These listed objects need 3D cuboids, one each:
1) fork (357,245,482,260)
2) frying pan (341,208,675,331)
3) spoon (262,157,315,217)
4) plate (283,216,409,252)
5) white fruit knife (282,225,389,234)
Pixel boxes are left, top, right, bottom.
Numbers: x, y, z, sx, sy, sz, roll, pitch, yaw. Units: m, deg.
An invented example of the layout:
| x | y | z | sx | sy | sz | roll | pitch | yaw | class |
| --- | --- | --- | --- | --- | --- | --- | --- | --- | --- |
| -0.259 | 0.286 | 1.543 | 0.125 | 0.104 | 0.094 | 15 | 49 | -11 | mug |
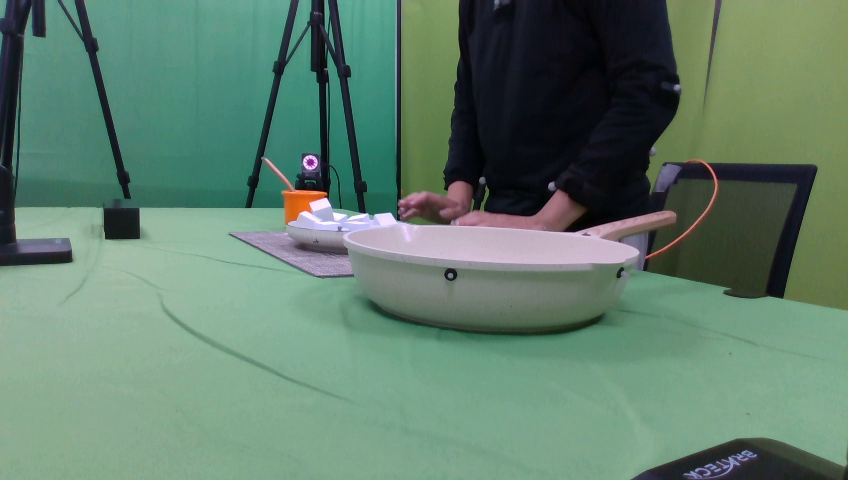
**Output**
| x | y | z | sx | sy | sz | roll | pitch | yaw | class |
| --- | --- | --- | --- | --- | --- | --- | --- | --- | --- |
| 0.000 | 0.017 | 0.866 | 0.208 | 0.018 | 0.028 | -4 | -1 | -33 | fork |
| 0.144 | 0.008 | 0.677 | 0.490 | 0.102 | 0.305 | -13 | 16 | -36 | frying pan |
| -0.276 | -0.103 | 1.251 | 0.021 | 0.193 | 0.042 | -42 | -15 | 22 | spoon |
| -0.119 | -0.009 | 0.968 | 0.208 | 0.039 | 0.207 | 2 | 7 | 0 | plate |
| -0.162 | -0.018 | 1.120 | 0.208 | 0.016 | 0.027 | -3 | 5 | -34 | white fruit knife |
